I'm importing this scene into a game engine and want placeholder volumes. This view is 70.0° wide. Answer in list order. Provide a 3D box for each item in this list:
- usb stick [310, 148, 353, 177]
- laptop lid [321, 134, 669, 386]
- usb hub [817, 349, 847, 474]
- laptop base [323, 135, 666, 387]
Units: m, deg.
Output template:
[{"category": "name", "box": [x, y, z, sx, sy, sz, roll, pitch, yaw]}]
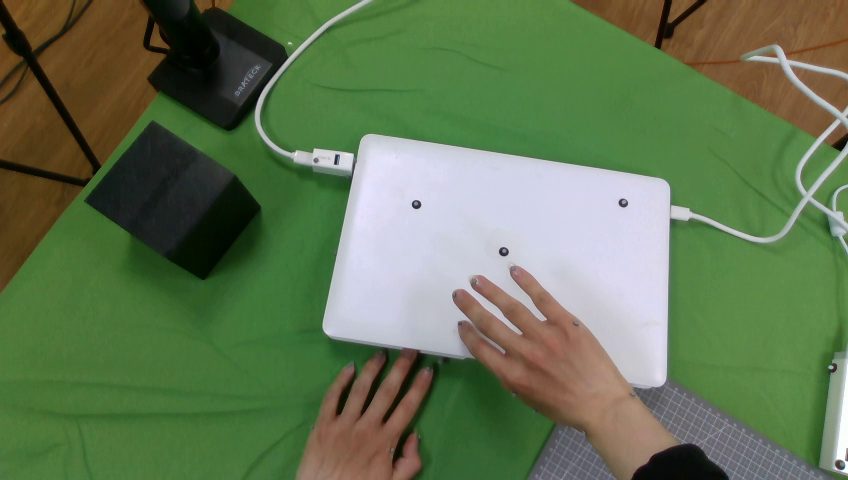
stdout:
[{"category": "usb stick", "box": [-0.095, -0.085, 0.671, 0.059, 0.027, 0.021, 9, 77, -6]}, {"category": "laptop lid", "box": [0.084, 0.014, 0.643, 0.357, 0.013, 0.240, 10, 71, 1]}, {"category": "usb hub", "box": [0.449, 0.181, 0.634, 0.049, 0.025, 0.124, 16, 76, 3]}, {"category": "laptop base", "box": [0.084, 0.019, 0.666, 0.354, 0.023, 0.234, 9, 78, 0]}]
